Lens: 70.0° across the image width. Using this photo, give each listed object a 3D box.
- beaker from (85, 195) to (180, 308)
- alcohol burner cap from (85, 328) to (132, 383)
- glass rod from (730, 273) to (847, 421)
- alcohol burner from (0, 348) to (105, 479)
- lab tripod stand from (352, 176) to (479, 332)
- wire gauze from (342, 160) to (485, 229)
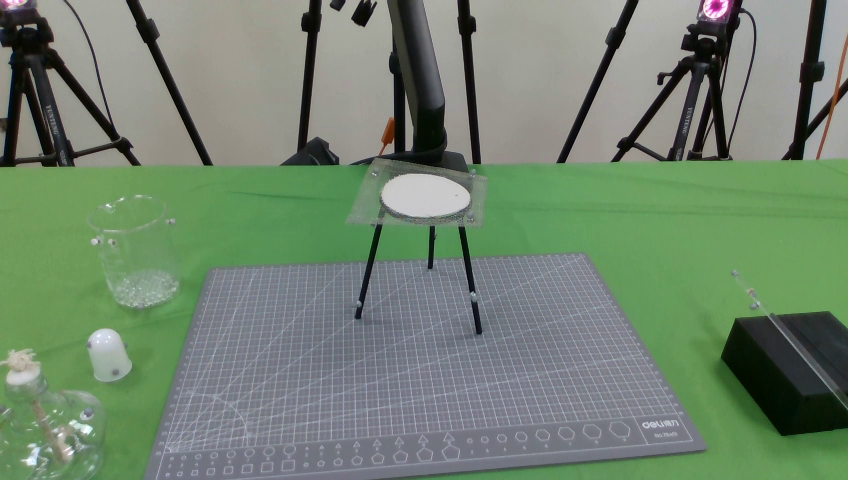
[{"bbox_3d":[-0.299,0.013,0.628,0.083,0.101,0.074,23,38,30],"label":"beaker"},{"bbox_3d":[-0.285,0.101,0.544,0.034,0.048,0.033,2,32,-1],"label":"alcohol burner cap"},{"bbox_3d":[0.328,0.090,0.551,0.008,0.008,0.197,0,33,-4],"label":"glass rod"},{"bbox_3d":[-0.278,0.127,0.436,0.078,0.120,0.077,0,33,0],"label":"alcohol burner"},{"bbox_3d":[0.000,0.014,0.613,0.148,0.132,0.147,4,32,-2],"label":"lab tripod stand"},{"bbox_3d":[-0.004,-0.043,0.577,0.121,0.011,0.124,7,33,4],"label":"wire gauze"}]
